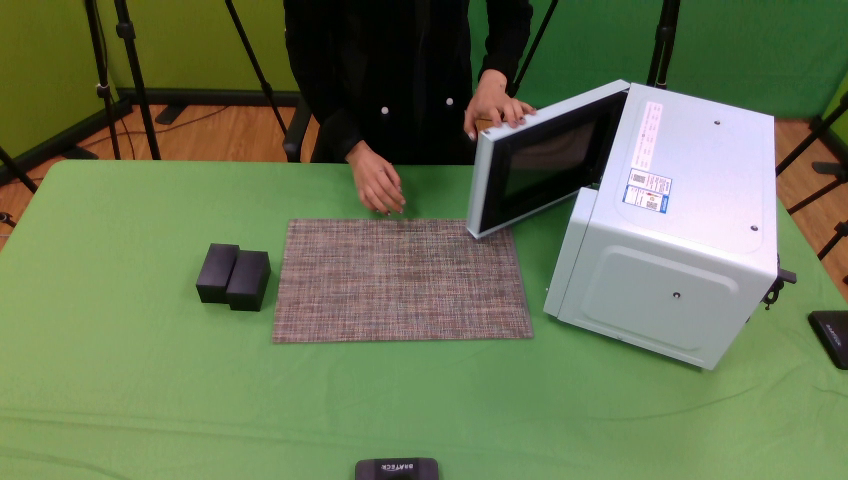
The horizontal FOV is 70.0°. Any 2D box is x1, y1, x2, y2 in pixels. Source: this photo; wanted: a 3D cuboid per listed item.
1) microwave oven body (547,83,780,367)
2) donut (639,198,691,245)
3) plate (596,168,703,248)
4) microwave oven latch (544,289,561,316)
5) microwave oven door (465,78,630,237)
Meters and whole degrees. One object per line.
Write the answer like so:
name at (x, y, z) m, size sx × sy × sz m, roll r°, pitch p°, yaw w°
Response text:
microwave oven body at (0.445, -0.041, 1.101) m, size 0.325 × 0.261 × 0.440 m, roll 17°, pitch 47°, yaw 13°
donut at (0.460, -0.035, 1.158) m, size 0.099 × 0.048 × 0.098 m, roll 3°, pitch 61°, yaw -4°
plate at (0.432, -0.059, 1.178) m, size 0.209 × 0.038 × 0.208 m, roll 6°, pitch 47°, yaw -7°
microwave oven latch at (0.237, 0.098, 1.087) m, size 0.030 × 0.029 × 0.079 m, roll 17°, pitch 47°, yaw 13°
microwave oven door at (0.246, -0.164, 1.198) m, size 0.356 × 0.245 × 0.039 m, roll -24°, pitch 53°, yaw -24°
